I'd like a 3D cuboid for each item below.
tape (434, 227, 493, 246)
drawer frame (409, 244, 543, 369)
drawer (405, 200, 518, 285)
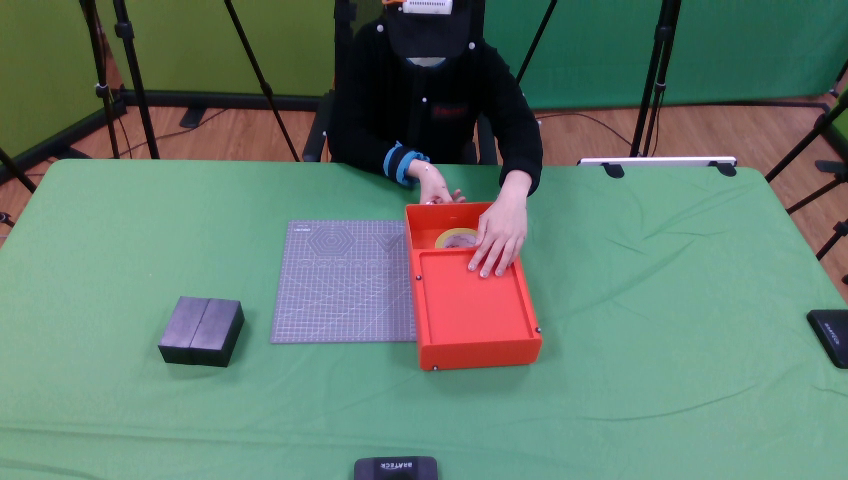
[{"bbox_3d":[0.071,0.031,1.137,0.117,0.053,0.116,2,45,-2],"label":"tape"},{"bbox_3d":[0.082,0.110,1.052,0.202,0.083,0.212,-2,47,-7],"label":"drawer frame"},{"bbox_3d":[0.069,0.022,1.135,0.195,0.073,0.210,-2,46,-7],"label":"drawer"}]
